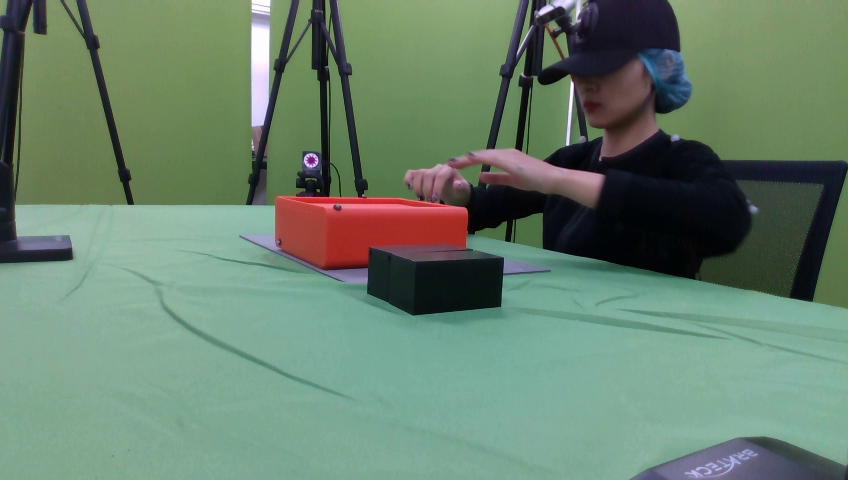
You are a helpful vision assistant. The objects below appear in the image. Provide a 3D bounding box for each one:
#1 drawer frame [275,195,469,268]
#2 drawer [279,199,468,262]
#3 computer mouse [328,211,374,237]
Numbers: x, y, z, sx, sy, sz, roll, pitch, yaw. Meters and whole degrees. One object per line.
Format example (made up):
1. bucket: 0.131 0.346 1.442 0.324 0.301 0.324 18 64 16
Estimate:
1. drawer frame: -0.078 -0.019 0.859 0.215 0.082 0.200 -3 9 -32
2. drawer: -0.076 -0.018 0.861 0.213 0.073 0.193 -3 9 -31
3. computer mouse: -0.132 -0.030 1.113 0.063 0.041 0.117 5 12 7
